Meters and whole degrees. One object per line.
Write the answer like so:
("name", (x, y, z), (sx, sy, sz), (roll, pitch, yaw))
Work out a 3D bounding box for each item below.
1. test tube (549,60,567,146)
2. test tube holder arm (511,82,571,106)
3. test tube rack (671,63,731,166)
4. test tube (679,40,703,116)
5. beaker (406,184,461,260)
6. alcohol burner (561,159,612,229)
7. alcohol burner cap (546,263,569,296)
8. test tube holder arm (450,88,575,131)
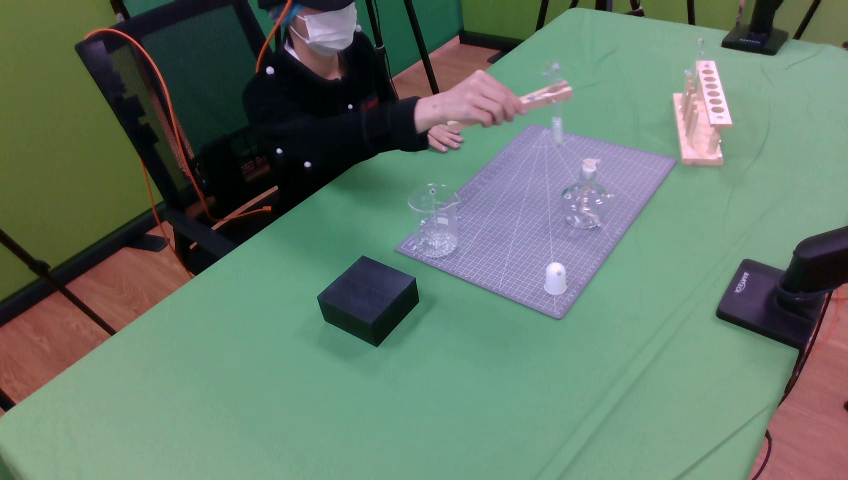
("test tube", (0.193, -0.192, 0.866), (0.017, 0.151, 0.017), (-8, 50, 11))
("test tube holder arm", (0.165, -0.201, 0.852), (0.088, 0.015, 0.010), (-22, 49, -4))
("test tube rack", (0.513, -0.240, 1.132), (0.066, 0.085, 0.242), (4, 41, 14))
("test tube", (0.502, -0.303, 1.138), (0.017, 0.151, 0.017), (-3, 40, 3))
("beaker", (0.019, -0.026, 0.939), (0.084, 0.101, 0.074), (1, 41, 10))
("alcohol burner", (0.257, -0.077, 0.951), (0.078, 0.119, 0.077), (-3, 40, 3))
("alcohol burner cap", (0.191, 0.053, 0.862), (0.034, 0.048, 0.033), (-5, 40, 4))
("test tube holder arm", (0.123, -0.183, 0.848), (0.178, 0.015, 0.013), (-16, 48, 1))
